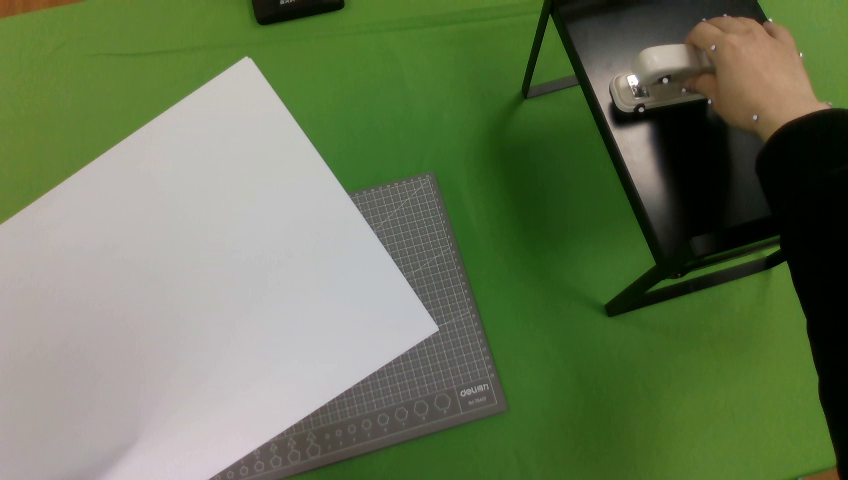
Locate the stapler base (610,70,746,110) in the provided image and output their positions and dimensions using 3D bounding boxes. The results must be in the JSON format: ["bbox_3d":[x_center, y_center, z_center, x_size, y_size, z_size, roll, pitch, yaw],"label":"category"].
[{"bbox_3d":[0.244,-0.155,0.575,0.131,0.024,0.041,-10,76,-6],"label":"stapler base"}]

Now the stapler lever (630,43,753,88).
[{"bbox_3d":[0.246,-0.163,0.552,0.118,0.040,0.026,-11,75,-4],"label":"stapler lever"}]
